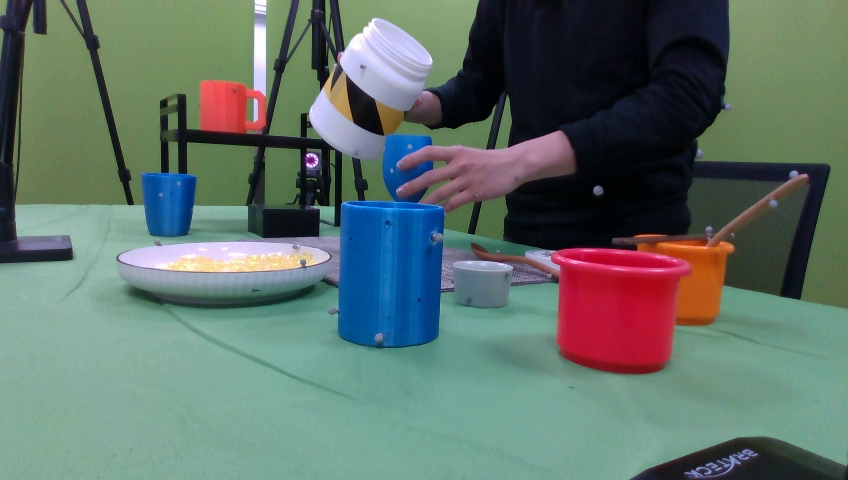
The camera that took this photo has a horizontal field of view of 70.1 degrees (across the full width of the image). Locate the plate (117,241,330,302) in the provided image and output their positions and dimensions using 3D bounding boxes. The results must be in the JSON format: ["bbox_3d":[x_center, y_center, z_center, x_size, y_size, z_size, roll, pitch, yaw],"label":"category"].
[{"bbox_3d":[-0.203,0.031,0.630,0.209,0.038,0.209,3,7,0],"label":"plate"}]

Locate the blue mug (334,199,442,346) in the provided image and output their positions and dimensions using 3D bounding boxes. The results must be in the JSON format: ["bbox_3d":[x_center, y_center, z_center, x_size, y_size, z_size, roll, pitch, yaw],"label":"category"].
[{"bbox_3d":[-0.034,0.020,0.498,0.083,0.106,0.116,0,7,-20],"label":"blue mug"}]

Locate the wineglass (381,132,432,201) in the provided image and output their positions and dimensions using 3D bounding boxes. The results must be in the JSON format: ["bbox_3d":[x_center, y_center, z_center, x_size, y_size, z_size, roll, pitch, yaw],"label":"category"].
[{"bbox_3d":[-0.026,-0.062,0.841,0.074,0.172,0.073,2,7,0],"label":"wineglass"}]

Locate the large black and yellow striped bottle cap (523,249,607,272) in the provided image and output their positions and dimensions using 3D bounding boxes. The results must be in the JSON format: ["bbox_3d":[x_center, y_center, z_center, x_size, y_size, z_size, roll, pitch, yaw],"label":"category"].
[{"bbox_3d":[0.198,0.028,0.851,0.115,0.019,0.115,5,5,0],"label":"large black and yellow striped bottle cap"}]

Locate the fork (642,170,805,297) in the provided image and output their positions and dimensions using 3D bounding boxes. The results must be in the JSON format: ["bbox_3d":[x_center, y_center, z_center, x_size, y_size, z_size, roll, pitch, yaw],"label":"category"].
[{"bbox_3d":[0.261,0.004,0.545,0.028,0.018,0.207,5,-37,-15],"label":"fork"}]

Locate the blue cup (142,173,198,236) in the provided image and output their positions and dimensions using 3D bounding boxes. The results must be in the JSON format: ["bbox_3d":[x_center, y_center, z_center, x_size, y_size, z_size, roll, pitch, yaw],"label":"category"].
[{"bbox_3d":[-0.425,-0.060,1.014,0.093,0.100,0.092,4,9,0],"label":"blue cup"}]

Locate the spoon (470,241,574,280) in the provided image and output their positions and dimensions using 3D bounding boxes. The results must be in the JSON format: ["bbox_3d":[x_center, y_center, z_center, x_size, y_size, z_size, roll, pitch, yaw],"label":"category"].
[{"bbox_3d":[0.124,0.025,0.800,0.042,0.021,0.192,22,-5,-34],"label":"spoon"}]

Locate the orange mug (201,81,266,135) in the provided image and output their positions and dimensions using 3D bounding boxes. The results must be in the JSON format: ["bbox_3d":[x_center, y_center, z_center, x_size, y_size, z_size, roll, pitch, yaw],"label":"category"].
[{"bbox_3d":[-0.377,-0.260,1.198,0.126,0.101,0.083,-3,8,-6],"label":"orange mug"}]

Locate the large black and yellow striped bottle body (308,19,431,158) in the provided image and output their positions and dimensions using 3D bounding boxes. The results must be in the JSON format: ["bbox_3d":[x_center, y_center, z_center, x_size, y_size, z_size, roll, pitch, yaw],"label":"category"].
[{"bbox_3d":[-0.083,-0.235,0.943,0.131,0.183,0.130,29,29,-18],"label":"large black and yellow striped bottle body"}]

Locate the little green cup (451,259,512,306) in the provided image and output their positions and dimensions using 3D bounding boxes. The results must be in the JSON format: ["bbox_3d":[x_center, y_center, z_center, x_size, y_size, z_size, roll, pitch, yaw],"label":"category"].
[{"bbox_3d":[0.057,0.043,0.611,0.061,0.038,0.061,3,8,0],"label":"little green cup"}]

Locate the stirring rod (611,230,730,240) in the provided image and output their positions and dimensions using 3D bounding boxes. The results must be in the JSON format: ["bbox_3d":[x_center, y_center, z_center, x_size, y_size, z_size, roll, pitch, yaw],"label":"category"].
[{"bbox_3d":[0.241,-0.005,0.581,0.177,0.006,0.014,-2,9,-34],"label":"stirring rod"}]
